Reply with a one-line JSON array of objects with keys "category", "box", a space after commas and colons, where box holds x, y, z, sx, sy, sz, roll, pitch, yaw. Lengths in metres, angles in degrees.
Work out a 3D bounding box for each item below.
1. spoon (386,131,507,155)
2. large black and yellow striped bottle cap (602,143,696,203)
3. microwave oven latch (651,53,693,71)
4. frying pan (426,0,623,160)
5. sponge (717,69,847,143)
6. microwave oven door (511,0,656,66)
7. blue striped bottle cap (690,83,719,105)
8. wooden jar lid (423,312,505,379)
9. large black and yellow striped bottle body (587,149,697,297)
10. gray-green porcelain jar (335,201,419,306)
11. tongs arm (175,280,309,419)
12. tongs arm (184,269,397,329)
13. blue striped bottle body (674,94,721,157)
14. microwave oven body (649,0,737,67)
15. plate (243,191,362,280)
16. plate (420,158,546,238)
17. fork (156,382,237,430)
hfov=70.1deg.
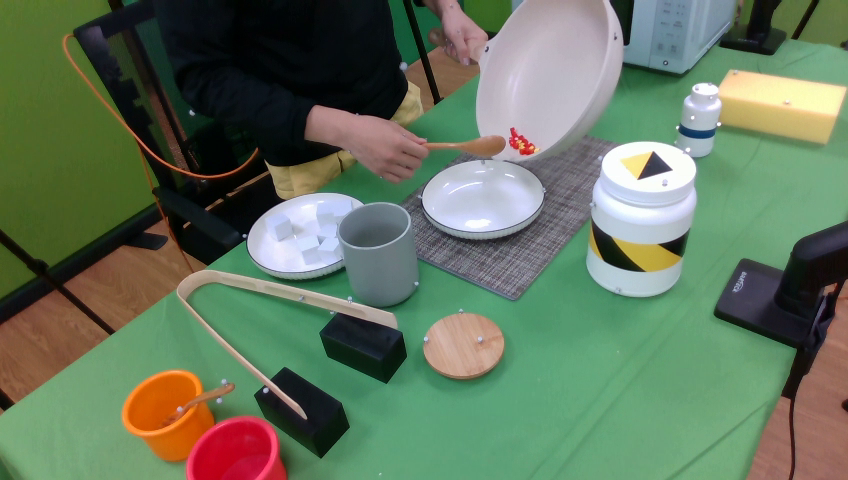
[{"category": "spoon", "box": [0.033, -0.150, 0.953, 0.193, 0.042, 0.021, 1, 44, 18]}, {"category": "large black and yellow striped bottle cap", "box": [0.289, -0.088, 0.778, 0.115, 0.019, 0.114, -4, 39, 4]}, {"category": "microwave oven latch", "box": [0.532, -0.387, 1.301, 0.078, 0.029, 0.030, 27, 52, 34]}, {"category": "frying pan", "box": [0.143, -0.311, 1.037, 0.104, 0.306, 0.483, 11, 21, -42]}, {"category": "sponge", "box": [0.663, -0.256, 1.142, 0.205, 0.061, 0.118, 19, 47, 28]}, {"category": "microwave oven door", "box": [0.351, -0.539, 1.349, 0.353, 0.245, 0.039, 24, 50, 31]}, {"category": "blue striped bottle cap", "box": [0.482, -0.251, 1.038, 0.044, 0.021, 0.044, -5, 40, 5]}, {"category": "wooden jar lid", "box": [0.053, 0.142, 0.800, 0.108, 0.021, 0.108, -5, 39, 4]}, {"category": "large black and yellow striped bottle body", "box": [0.298, -0.026, 0.834, 0.131, 0.185, 0.130, -4, 41, 4]}, {"category": "gray-green porcelain jar", "box": [-0.064, 0.024, 0.872, 0.106, 0.127, 0.105, -4, 41, 4]}, {"category": "tongs arm", "box": [-0.254, 0.133, 0.801, 0.028, 0.028, 0.384, -41, 40, -23]}, {"category": "tongs arm", "box": [-0.203, 0.085, 0.847, 0.382, 0.027, 0.051, 11, 45, 35]}, {"category": "blue striped bottle body", "box": [0.486, -0.213, 1.072, 0.063, 0.121, 0.063, -4, 41, 4]}, {"category": "microwave oven body", "box": [0.475, -0.602, 1.411, 0.438, 0.261, 0.327, 23, 50, 32]}, {"category": "plate", "box": [-0.187, -0.005, 0.992, 0.207, 0.039, 0.206, -4, 40, 3]}, {"category": "plate", "box": [0.099, -0.067, 1.017, 0.209, 0.038, 0.208, -4, 40, 4]}, {"category": "fork", "box": [-0.262, 0.189, 0.690, 0.206, 0.018, 0.028, -34, 9, 42]}]
